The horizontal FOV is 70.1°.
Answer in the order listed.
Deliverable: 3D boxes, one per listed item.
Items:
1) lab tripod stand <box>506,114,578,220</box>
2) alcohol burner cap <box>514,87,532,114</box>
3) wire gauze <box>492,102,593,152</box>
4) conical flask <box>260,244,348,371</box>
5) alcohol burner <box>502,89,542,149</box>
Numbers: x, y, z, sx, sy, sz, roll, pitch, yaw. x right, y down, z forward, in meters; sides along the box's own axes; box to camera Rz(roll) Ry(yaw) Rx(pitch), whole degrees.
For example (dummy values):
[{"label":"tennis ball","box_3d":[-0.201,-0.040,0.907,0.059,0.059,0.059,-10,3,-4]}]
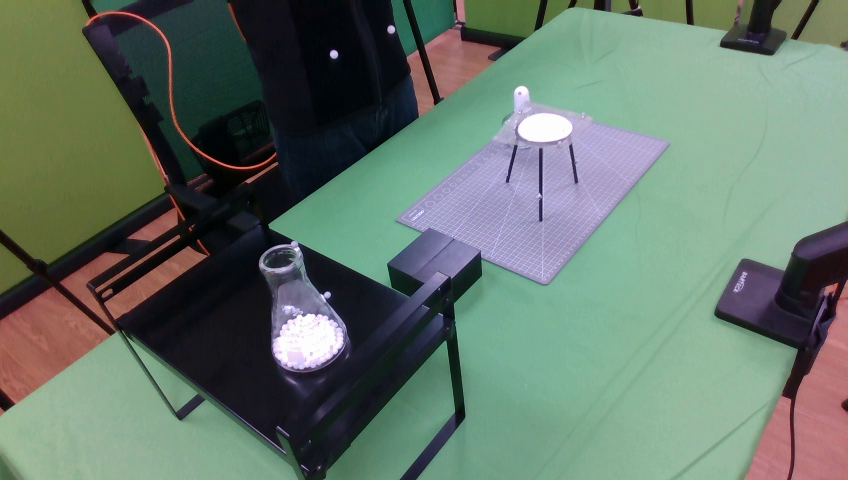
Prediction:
[{"label":"lab tripod stand","box_3d":[0.198,-0.128,1.005,0.148,0.132,0.147,-3,42,3]},{"label":"alcohol burner cap","box_3d":[0.183,-0.262,1.125,0.034,0.048,0.033,-8,40,7]},{"label":"wire gauze","box_3d":[0.190,-0.180,0.964,0.120,0.011,0.125,19,48,27]},{"label":"conical flask","box_3d":[-0.118,0.060,0.565,0.075,0.122,0.075,-5,41,4]},{"label":"alcohol burner","box_3d":[0.186,-0.235,1.149,0.078,0.119,0.077,-5,42,5]}]
